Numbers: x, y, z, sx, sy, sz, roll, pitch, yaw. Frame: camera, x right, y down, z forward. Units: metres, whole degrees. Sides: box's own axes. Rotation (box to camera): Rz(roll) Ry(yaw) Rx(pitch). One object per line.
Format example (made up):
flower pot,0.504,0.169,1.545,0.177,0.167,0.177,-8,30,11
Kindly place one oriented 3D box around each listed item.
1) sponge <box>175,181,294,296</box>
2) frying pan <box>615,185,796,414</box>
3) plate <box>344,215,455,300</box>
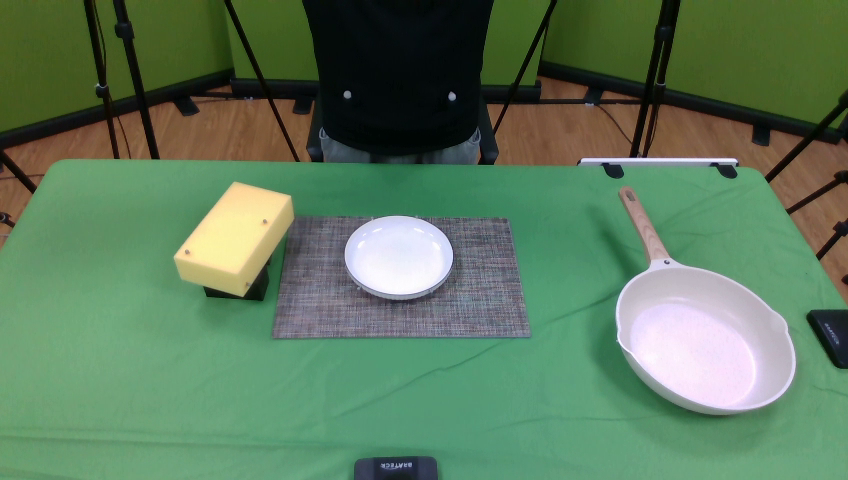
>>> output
sponge,-0.333,-0.007,1.086,0.118,0.061,0.206,14,47,9
frying pan,0.450,0.087,1.092,0.307,0.103,0.484,-4,55,-10
plate,-0.045,0.036,1.146,0.208,0.039,0.206,2,46,-2
